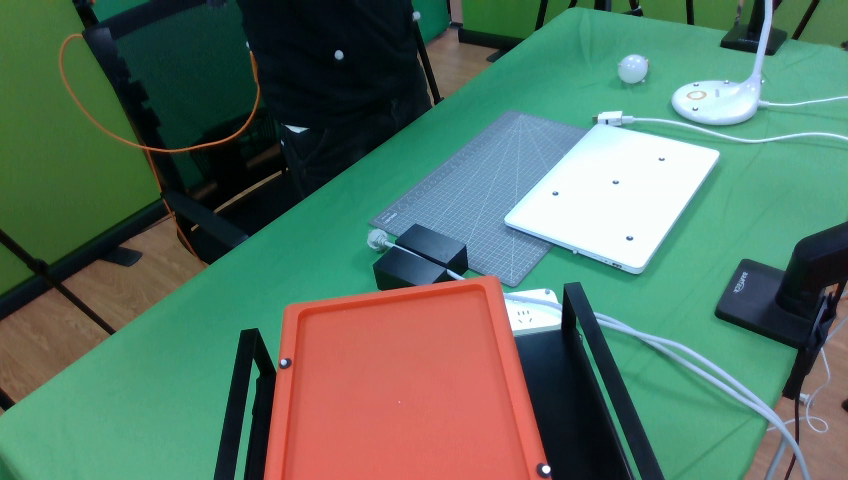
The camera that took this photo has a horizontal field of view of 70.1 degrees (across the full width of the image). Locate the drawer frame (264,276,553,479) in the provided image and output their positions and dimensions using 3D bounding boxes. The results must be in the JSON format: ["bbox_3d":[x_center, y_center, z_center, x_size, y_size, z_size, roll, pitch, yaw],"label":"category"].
[{"bbox_3d":[-0.016,0.137,0.490,0.202,0.083,0.212,-8,41,-1],"label":"drawer frame"}]

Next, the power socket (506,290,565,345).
[{"bbox_3d":[0.081,0.112,0.822,0.227,0.033,0.072,-7,41,0],"label":"power socket"}]

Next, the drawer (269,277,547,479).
[{"bbox_3d":[-0.018,0.137,0.493,0.195,0.073,0.210,-7,41,-1],"label":"drawer"}]

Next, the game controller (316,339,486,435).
[{"bbox_3d":[-0.020,0.119,0.533,0.155,0.052,0.096,-3,40,1],"label":"game controller"}]

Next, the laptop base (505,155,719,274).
[{"bbox_3d":[0.326,-0.084,1.028,0.233,0.023,0.355,21,48,32],"label":"laptop base"}]

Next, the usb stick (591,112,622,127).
[{"bbox_3d":[0.360,-0.238,1.196,0.059,0.021,0.027,4,42,27],"label":"usb stick"}]

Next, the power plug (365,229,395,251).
[{"bbox_3d":[-0.067,0.010,0.954,0.035,0.053,0.072,-43,53,1],"label":"power plug"}]

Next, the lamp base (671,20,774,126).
[{"bbox_3d":[0.581,-0.332,1.154,0.179,0.181,0.160,2,41,7],"label":"lamp base"}]

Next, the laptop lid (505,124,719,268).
[{"bbox_3d":[0.323,-0.093,1.021,0.240,0.013,0.358,23,49,32],"label":"laptop lid"}]

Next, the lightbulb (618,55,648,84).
[{"bbox_3d":[0.464,-0.376,1.324,0.059,0.059,0.108,22,34,30],"label":"lightbulb"}]
